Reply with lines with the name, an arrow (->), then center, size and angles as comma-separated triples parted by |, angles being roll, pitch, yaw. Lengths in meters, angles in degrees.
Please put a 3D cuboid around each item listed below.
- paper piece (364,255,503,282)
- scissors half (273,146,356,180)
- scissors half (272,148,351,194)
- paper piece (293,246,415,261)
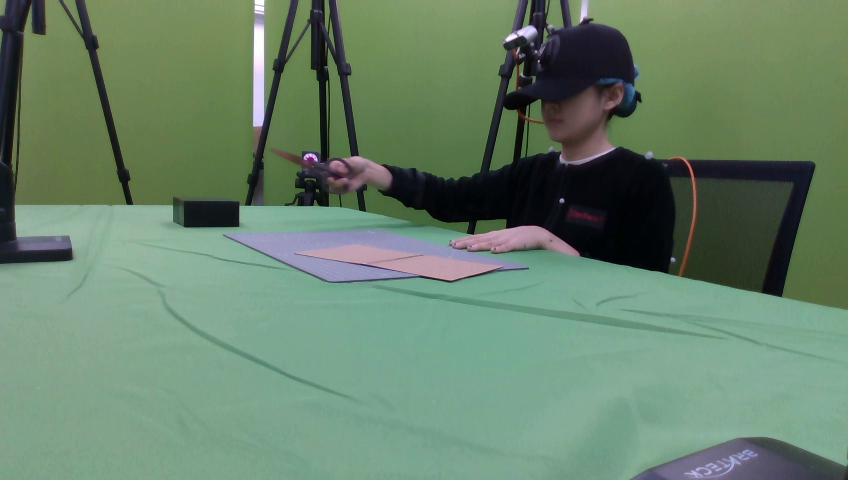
paper piece -> 0.014, 0.034, 0.799 | 0.135, 0.004, 0.136 | 8, 10, 35
scissors half -> -0.209, -0.154, 1.172 | 0.176, 0.040, 0.012 | 12, 4, -32
scissors half -> -0.216, -0.135, 1.172 | 0.176, 0.040, 0.013 | 31, -11, -31
paper piece -> -0.096, 0.020, 0.873 | 0.137, 0.008, 0.137 | 7, 4, 35
